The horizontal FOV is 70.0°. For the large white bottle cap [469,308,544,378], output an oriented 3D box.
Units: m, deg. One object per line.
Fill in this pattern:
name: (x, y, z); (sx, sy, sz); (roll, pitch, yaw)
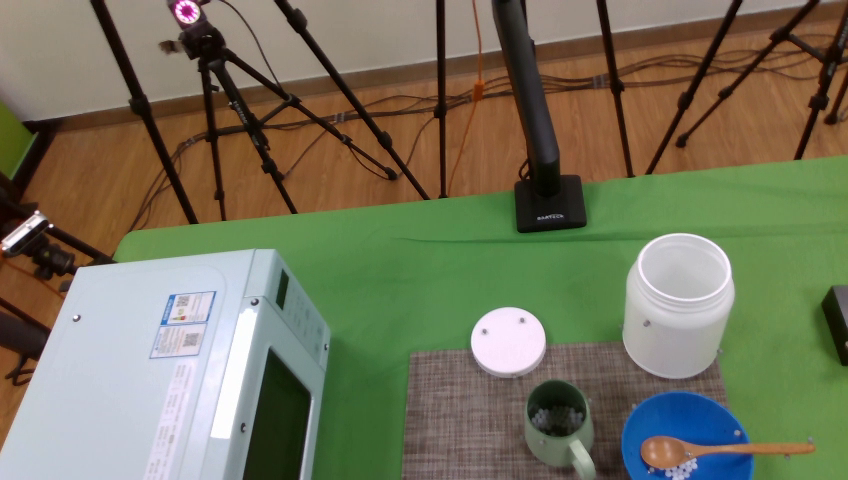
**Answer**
large white bottle cap: (0.126, 0.157, 0.930); (0.114, 0.018, 0.113); (-7, 52, 9)

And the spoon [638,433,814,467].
spoon: (0.356, 0.250, 0.728); (0.193, 0.022, 0.041); (-15, 51, 34)

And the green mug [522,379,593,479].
green mug: (0.181, 0.253, 0.790); (0.092, 0.106, 0.124); (-26, 52, -6)

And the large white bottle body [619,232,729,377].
large white bottle body: (0.335, 0.088, 0.821); (0.130, 0.186, 0.129); (-7, 49, 9)

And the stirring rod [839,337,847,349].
stirring rod: (0.629, 0.111, 0.787); (0.176, 0.006, 0.014); (-17, 58, 3)

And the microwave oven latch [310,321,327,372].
microwave oven latch: (-0.173, 0.170, 0.965); (0.030, 0.030, 0.078); (-6, 54, 10)

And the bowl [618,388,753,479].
bowl: (0.320, 0.271, 0.758); (0.151, 0.077, 0.150); (-7, 53, 10)

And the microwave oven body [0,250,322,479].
microwave oven body: (-0.341, 0.272, 0.809); (0.325, 0.263, 0.437); (-6, 54, 9)

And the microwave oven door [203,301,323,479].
microwave oven door: (-0.199, 0.287, 0.757); (0.039, 0.246, 0.352); (-7, 53, 10)
